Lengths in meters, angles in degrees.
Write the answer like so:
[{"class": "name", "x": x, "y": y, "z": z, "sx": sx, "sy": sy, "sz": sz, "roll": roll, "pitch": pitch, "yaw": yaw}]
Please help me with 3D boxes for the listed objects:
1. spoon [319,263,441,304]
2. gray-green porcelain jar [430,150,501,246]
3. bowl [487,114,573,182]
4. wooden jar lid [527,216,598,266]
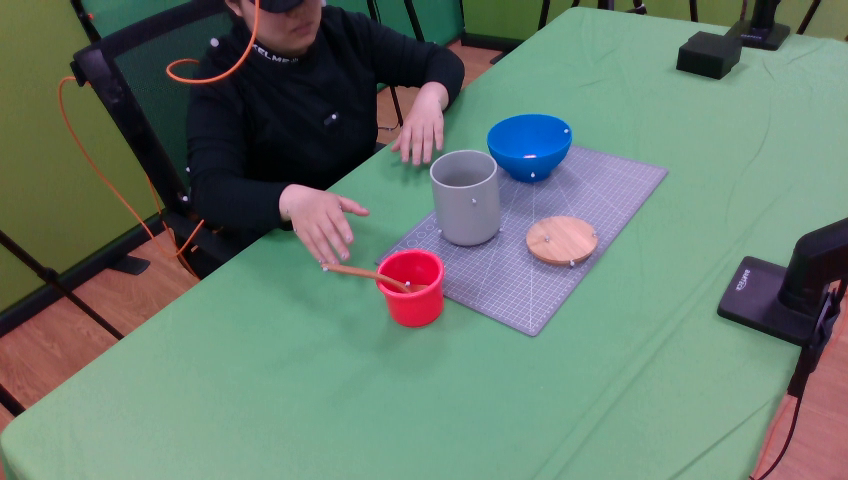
[{"class": "spoon", "x": -0.056, "y": 0.056, "z": 0.833, "sx": 0.195, "sy": 0.021, "sz": 0.041, "roll": 22, "pitch": 27, "yaw": -35}, {"class": "gray-green porcelain jar", "x": 0.068, "y": -0.062, "z": 0.958, "sx": 0.106, "sy": 0.127, "sz": 0.105, "roll": -5, "pitch": 40, "yaw": 5}, {"class": "bowl", "x": 0.190, "y": -0.156, "z": 1.085, "sx": 0.151, "sy": 0.077, "sz": 0.150, "roll": -5, "pitch": 40, "yaw": 5}, {"class": "wooden jar lid", "x": 0.214, "y": 0.003, "z": 0.936, "sx": 0.108, "sy": 0.021, "sz": 0.108, "roll": -4, "pitch": 40, "yaw": 4}]
